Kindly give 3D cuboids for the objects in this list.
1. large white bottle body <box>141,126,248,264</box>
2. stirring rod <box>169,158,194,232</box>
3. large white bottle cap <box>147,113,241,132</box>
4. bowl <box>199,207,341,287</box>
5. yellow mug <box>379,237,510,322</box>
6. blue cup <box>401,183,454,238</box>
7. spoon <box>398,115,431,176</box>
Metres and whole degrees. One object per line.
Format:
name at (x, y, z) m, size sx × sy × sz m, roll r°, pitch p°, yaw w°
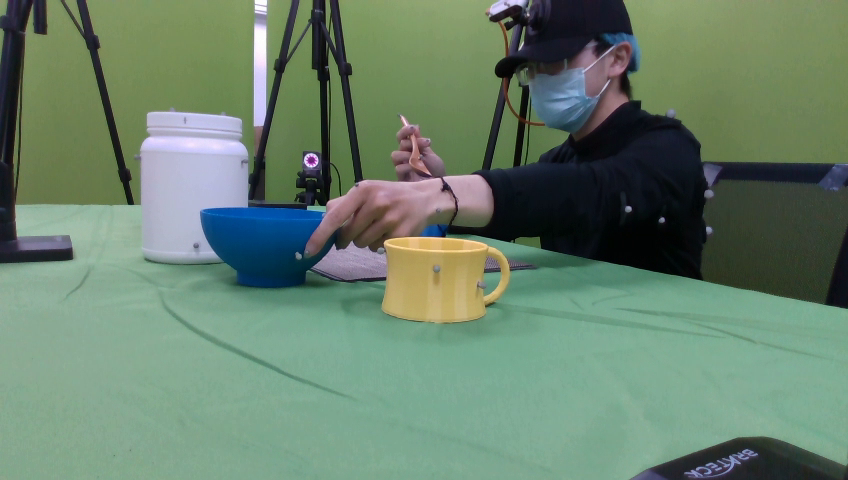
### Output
large white bottle body at (-0.300, -0.068, 0.797) m, size 0.131 × 0.184 × 0.130 m, roll 2°, pitch 7°, yaw 0°
stirring rod at (-0.424, -0.082, 1.060) m, size 0.014 × 0.006 × 0.175 m, roll 2°, pitch 50°, yaw -10°
large white bottle cap at (-0.297, -0.151, 0.786) m, size 0.115 × 0.018 × 0.115 m, roll 2°, pitch 7°, yaw 0°
bowl at (-0.170, 0.007, 0.671) m, size 0.151 × 0.077 × 0.151 m, roll 3°, pitch 6°, yaw 0°
yellow mug at (0.024, 0.034, 0.575) m, size 0.131 × 0.064 × 0.099 m, roll 1°, pitch 7°, yaw -22°
blue cup at (0.003, -0.038, 0.966) m, size 0.093 × 0.100 × 0.092 m, roll 4°, pitch 9°, yaw 0°
spoon at (-0.019, -0.162, 1.015) m, size 0.042 × 0.021 × 0.193 m, roll 22°, pitch 34°, yaw -29°
